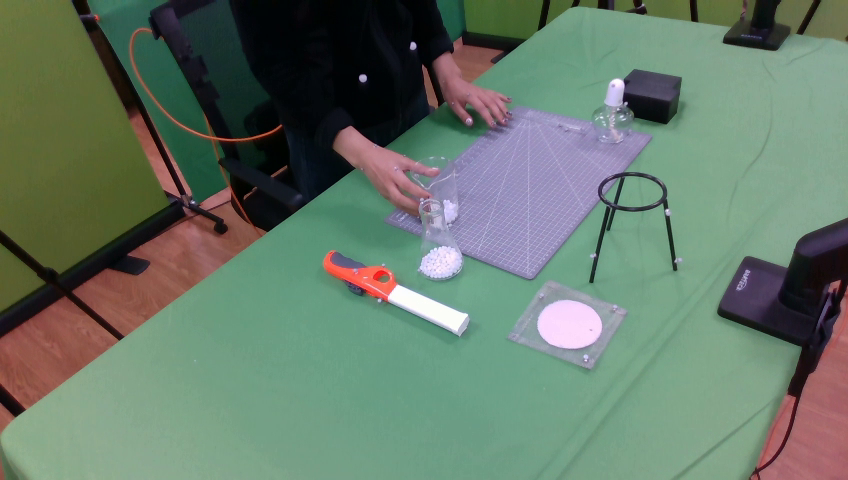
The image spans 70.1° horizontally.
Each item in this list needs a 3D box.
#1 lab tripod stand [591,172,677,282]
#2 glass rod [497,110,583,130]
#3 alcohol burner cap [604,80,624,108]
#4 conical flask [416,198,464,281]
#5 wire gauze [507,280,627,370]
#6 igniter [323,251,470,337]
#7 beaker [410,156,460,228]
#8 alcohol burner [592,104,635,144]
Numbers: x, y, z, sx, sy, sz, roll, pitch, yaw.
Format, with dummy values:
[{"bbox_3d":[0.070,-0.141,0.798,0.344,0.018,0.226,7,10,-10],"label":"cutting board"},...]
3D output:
[{"bbox_3d":[0.292,-0.022,0.867,0.148,0.132,0.147,-7,39,6],"label":"lab tripod stand"},{"bbox_3d":[0.233,-0.245,1.235,0.198,0.008,0.008,20,49,35],"label":"glass rod"},{"bbox_3d":[0.350,-0.269,1.102,0.034,0.048,0.033,-2,46,2],"label":"alcohol burner cap"},{"bbox_3d":[0.019,-0.004,0.907,0.075,0.122,0.075,-5,40,5],"label":"conical flask"},{"bbox_3d":[0.196,0.114,0.823,0.120,0.011,0.125,20,50,31],"label":"wire gauze"},{"bbox_3d":[-0.052,0.075,0.901,0.274,0.025,0.057,22,60,32],"label":"igniter"},{"bbox_3d":[0.020,-0.076,1.006,0.074,0.101,0.084,3,42,16],"label":"beaker"},{"bbox_3d":[0.353,-0.242,1.126,0.078,0.119,0.077,-5,38,5],"label":"alcohol burner"}]
